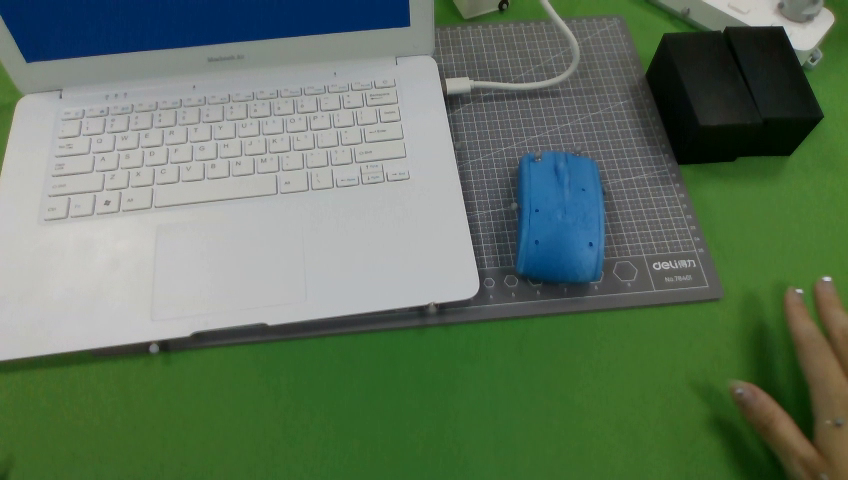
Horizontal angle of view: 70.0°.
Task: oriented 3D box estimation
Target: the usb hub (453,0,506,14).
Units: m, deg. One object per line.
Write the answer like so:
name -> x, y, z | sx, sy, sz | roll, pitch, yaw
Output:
usb hub -> 0.034, -0.277, 0.598 | 0.049, 0.025, 0.124 | -20, 64, -12

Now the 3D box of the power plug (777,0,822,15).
power plug -> 0.352, -0.227, 0.548 | 0.072, 0.053, 0.035 | -35, 66, -16

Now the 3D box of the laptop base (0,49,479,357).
laptop base -> -0.149, -0.041, 0.472 | 0.355, 0.023, 0.233 | -7, 65, -4

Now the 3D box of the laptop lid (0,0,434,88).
laptop lid -> -0.170, -0.224, 0.437 | 0.357, 0.244, 0.013 | -8, 49, -3

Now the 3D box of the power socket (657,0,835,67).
power socket -> 0.277, -0.241, 0.579 | 0.225, 0.033, 0.072 | 38, 67, 18

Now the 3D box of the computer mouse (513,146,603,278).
computer mouse -> 0.100, -0.026, 0.454 | 0.063, 0.041, 0.116 | 6, 57, 5
